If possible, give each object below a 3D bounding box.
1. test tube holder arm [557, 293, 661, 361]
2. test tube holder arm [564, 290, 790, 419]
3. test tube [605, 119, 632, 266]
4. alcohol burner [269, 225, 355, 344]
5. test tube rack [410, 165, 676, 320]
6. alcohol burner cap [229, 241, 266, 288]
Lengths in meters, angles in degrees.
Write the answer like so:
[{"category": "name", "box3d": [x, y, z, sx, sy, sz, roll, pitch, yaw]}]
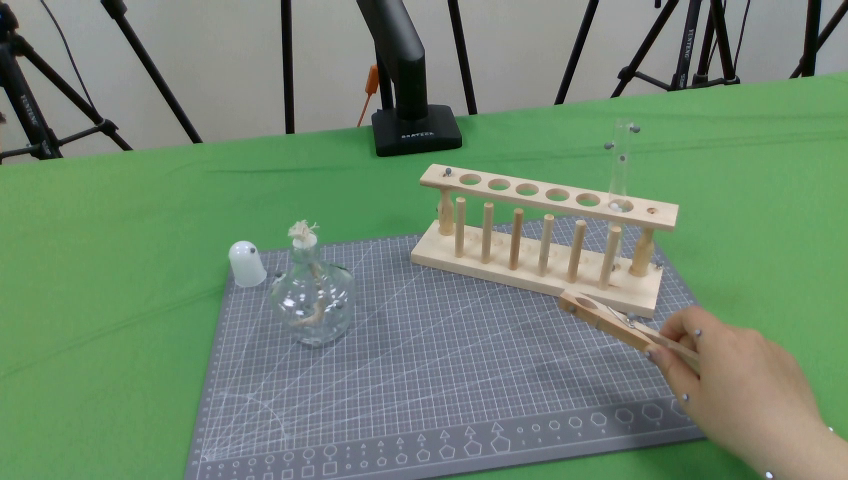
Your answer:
[{"category": "test tube holder arm", "box3d": [0.147, 0.068, 0.482, 0.087, 0.015, 0.010, 28, 51, 28]}, {"category": "test tube holder arm", "box3d": [0.186, 0.084, 0.465, 0.177, 0.015, 0.013, 27, 50, 27]}, {"category": "test tube", "box3d": [0.175, -0.038, 0.549, 0.017, 0.151, 0.017, -5, 35, 4]}, {"category": "alcohol burner", "box3d": [-0.101, 0.035, 0.534, 0.078, 0.120, 0.077, -1, 39, 1]}, {"category": "test tube rack", "box3d": [0.107, -0.003, 0.590, 0.241, 0.086, 0.066, 13, 40, 20]}, {"category": "alcohol burner cap", "box3d": [-0.181, 0.022, 0.617, 0.034, 0.048, 0.033, -1, 38, 1]}]
